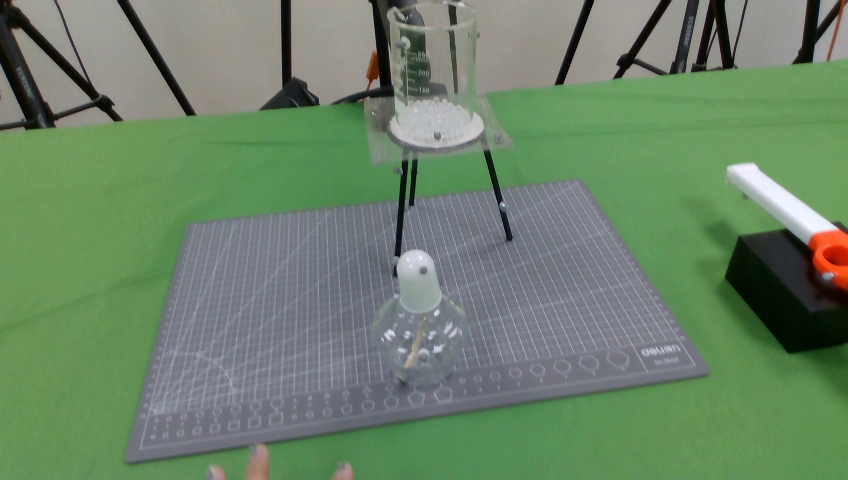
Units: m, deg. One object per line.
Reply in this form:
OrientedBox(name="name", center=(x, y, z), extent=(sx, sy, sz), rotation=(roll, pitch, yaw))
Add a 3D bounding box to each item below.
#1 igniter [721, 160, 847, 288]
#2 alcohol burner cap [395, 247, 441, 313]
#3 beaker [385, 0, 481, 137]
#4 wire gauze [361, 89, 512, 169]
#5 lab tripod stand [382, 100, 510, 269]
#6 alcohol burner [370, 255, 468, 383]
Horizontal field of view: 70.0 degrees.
OrientedBox(name="igniter", center=(0.342, 0.002, 0.512), extent=(0.057, 0.025, 0.273), rotation=(-8, 35, -6))
OrientedBox(name="alcohol burner cap", center=(-0.005, 0.026, 0.443), extent=(0.034, 0.048, 0.033), rotation=(-3, 42, 3))
OrientedBox(name="beaker", center=(0.005, -0.146, 0.516), extent=(0.074, 0.101, 0.083), rotation=(-30, 46, -32))
OrientedBox(name="wire gauze", center=(0.007, -0.107, 0.546), extent=(0.121, 0.011, 0.123), rotation=(-7, 41, -5))
OrientedBox(name="lab tripod stand", center=(0.014, -0.058, 0.589), extent=(0.148, 0.132, 0.147), rotation=(0, 37, 1))
OrientedBox(name="alcohol burner", center=(-0.004, 0.054, 0.465), extent=(0.078, 0.120, 0.077), rotation=(-1, 40, 1))
